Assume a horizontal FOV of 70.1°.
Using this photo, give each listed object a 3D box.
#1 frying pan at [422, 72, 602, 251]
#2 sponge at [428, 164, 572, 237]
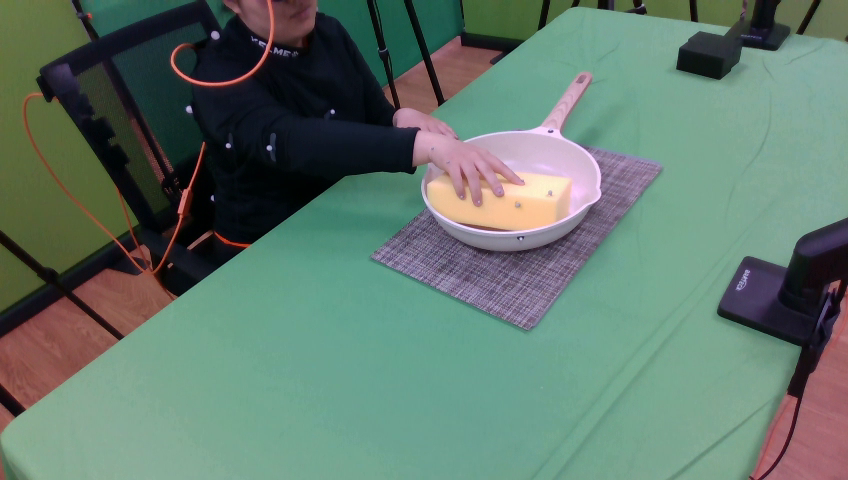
[{"bbox_3d":[0.199,-0.155,1.062,0.304,0.103,0.488,19,56,28],"label":"frying pan"},{"bbox_3d":[0.124,-0.068,0.973,0.206,0.061,0.118,9,26,19],"label":"sponge"}]
